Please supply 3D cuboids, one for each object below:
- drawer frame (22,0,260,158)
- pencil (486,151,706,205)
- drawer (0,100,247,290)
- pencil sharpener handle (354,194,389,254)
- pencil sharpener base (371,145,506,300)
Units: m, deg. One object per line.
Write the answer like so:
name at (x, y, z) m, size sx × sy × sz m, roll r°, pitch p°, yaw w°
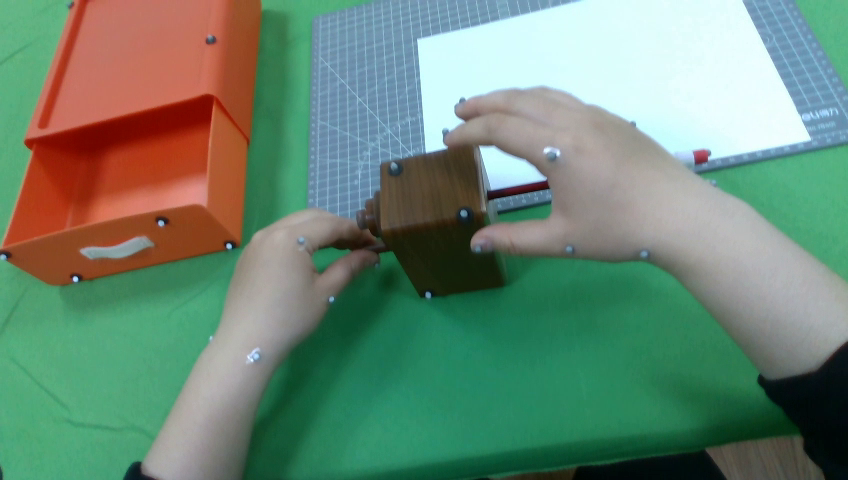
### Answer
drawer frame at (-0.282, -0.172, 0.632) m, size 0.201 × 0.083 × 0.211 m, roll -12°, pitch 57°, yaw 9°
pencil at (0.084, -0.035, 0.400) m, size 0.194 × 0.012 × 0.012 m, roll -11°, pitch 58°, yaw 10°
drawer at (-0.270, -0.073, 0.572) m, size 0.194 × 0.074 × 0.209 m, roll -13°, pitch 57°, yaw 9°
pencil sharpener handle at (-0.040, -0.006, 0.437) m, size 0.030 × 0.068 × 0.035 m, roll -11°, pitch 67°, yaw 10°
pencil sharpener base at (0.013, -0.008, 0.437) m, size 0.076 × 0.108 × 0.061 m, roll -11°, pitch 58°, yaw 10°
